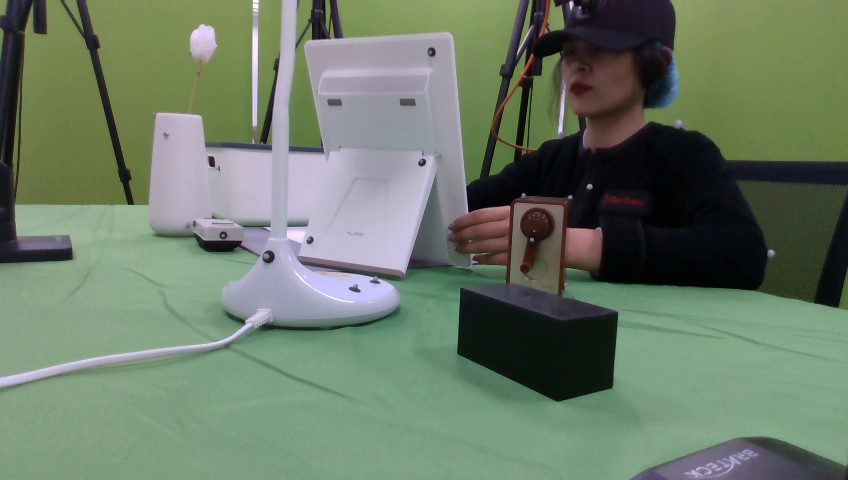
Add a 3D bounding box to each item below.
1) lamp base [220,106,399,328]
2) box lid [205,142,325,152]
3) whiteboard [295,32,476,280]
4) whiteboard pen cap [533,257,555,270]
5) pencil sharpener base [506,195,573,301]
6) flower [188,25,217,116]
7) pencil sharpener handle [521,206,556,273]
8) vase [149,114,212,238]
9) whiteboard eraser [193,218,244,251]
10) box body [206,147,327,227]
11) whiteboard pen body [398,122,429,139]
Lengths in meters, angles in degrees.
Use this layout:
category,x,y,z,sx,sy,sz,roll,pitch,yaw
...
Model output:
category,x,y,z,sx,sy,sz,roll,pitch,yaw
lamp base,-0.102,-0.023,0.531,0.160,0.180,0.179,4,10,10
box lid,-0.270,-0.196,1.310,0.373,0.015,0.262,-2,9,-30
whiteboard,-0.076,-0.084,0.747,0.216,0.305,0.144,7,28,29
whiteboard pen cap,0.166,0.032,0.840,0.018,0.018,0.033,-1,3,-24
pencil sharpener base,0.127,0.007,0.662,0.061,0.107,0.077,5,8,15
flower,-0.395,-0.189,1.011,0.044,0.361,0.038,-1,-13,27
pencil sharpener handle,0.111,0.000,0.612,0.036,0.067,0.031,13,10,14
vase,-0.405,-0.106,1.005,0.098,0.200,0.098,2,6,0
whiteboard eraser,-0.307,-0.009,0.900,0.056,0.042,0.112,-4,10,-28
box body,-0.276,-0.122,1.320,0.366,0.160,0.253,-2,9,-30
whiteboard pen body,-0.016,-0.157,0.863,0.017,0.017,0.141,4,6,14
